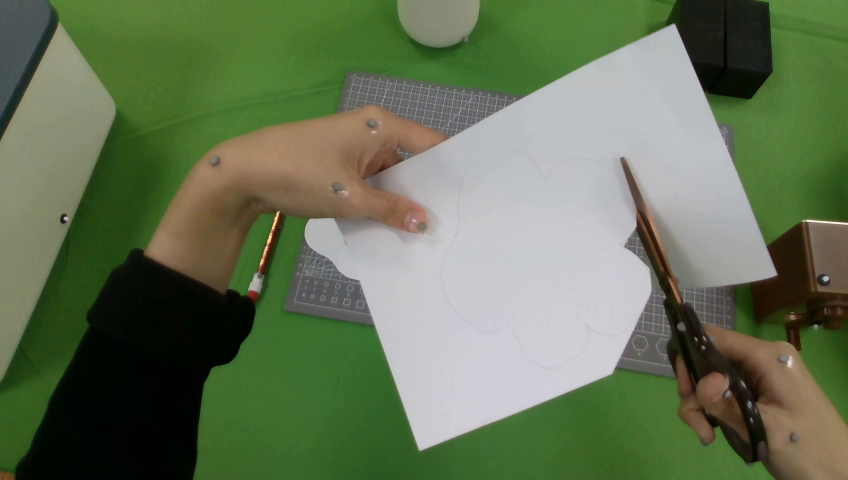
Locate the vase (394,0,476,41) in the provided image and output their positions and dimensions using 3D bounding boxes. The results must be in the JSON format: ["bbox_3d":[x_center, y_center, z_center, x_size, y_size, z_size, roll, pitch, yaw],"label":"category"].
[{"bbox_3d":[0.011,-0.312,0.655,0.098,0.201,0.097,0,67,1],"label":"vase"}]

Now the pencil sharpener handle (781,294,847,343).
[{"bbox_3d":[0.350,0.072,0.544,0.036,0.068,0.030,10,69,-11],"label":"pencil sharpener handle"}]

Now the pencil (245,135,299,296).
[{"bbox_3d":[-0.160,-0.032,0.649,0.012,0.012,0.193,10,68,4],"label":"pencil"}]

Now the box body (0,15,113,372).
[{"bbox_3d":[-0.495,-0.056,0.576,0.254,0.161,0.362,9,69,4],"label":"box body"}]

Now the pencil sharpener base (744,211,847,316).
[{"bbox_3d":[0.359,0.030,0.573,0.061,0.108,0.076,5,69,2],"label":"pencil sharpener base"}]

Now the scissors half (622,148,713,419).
[{"bbox_3d":[0.138,0.028,0.347,0.013,0.039,0.176,-22,110,4],"label":"scissors half"}]

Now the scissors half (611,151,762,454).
[{"bbox_3d":[0.138,0.031,0.324,0.013,0.040,0.174,-22,81,-1],"label":"scissors half"}]

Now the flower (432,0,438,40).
[{"bbox_3d":[0.006,-0.356,0.583,0.044,0.365,0.038,2,51,5],"label":"flower"}]

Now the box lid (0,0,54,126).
[{"bbox_3d":[-0.496,-0.085,0.506,0.263,0.015,0.369,9,69,3],"label":"box lid"}]
